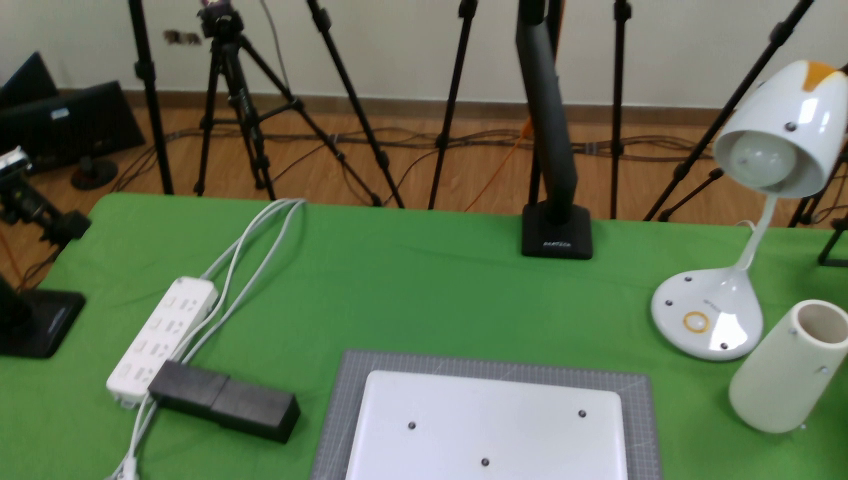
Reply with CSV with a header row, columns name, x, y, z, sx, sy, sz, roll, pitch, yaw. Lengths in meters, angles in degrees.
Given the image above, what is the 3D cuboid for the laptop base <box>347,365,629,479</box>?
name,x,y,z,sx,sy,sz,roll,pitch,yaw
laptop base,0.083,0.284,0.785,0.354,0.023,0.233,4,52,6

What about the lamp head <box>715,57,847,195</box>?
name,x,y,z,sx,sy,sz,roll,pitch,yaw
lamp head,0.380,-0.122,0.623,0.111,0.113,0.122,29,73,26

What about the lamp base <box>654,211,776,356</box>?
name,x,y,z,sx,sy,sz,roll,pitch,yaw
lamp base,0.438,0.047,0.872,0.159,0.182,0.179,32,54,28

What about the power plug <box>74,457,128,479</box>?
name,x,y,z,sx,sy,sz,roll,pitch,yaw
power plug,-0.424,0.313,0.783,0.052,0.035,0.072,-9,6,24

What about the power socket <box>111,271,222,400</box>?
name,x,y,z,sx,sy,sz,roll,pitch,yaw
power socket,-0.389,0.138,0.929,0.072,0.033,0.225,11,49,11

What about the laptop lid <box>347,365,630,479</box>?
name,x,y,z,sx,sy,sz,roll,pitch,yaw
laptop lid,0.082,0.278,0.774,0.356,0.013,0.239,5,51,7

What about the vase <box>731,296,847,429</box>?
name,x,y,z,sx,sy,sz,roll,pitch,yaw
vase,0.461,0.155,0.760,0.098,0.202,0.097,-2,47,3

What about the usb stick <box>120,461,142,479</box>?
name,x,y,z,sx,sy,sz,roll,pitch,yaw
usb stick,-0.373,0.315,0.770,0.021,0.027,0.058,-7,55,-15
